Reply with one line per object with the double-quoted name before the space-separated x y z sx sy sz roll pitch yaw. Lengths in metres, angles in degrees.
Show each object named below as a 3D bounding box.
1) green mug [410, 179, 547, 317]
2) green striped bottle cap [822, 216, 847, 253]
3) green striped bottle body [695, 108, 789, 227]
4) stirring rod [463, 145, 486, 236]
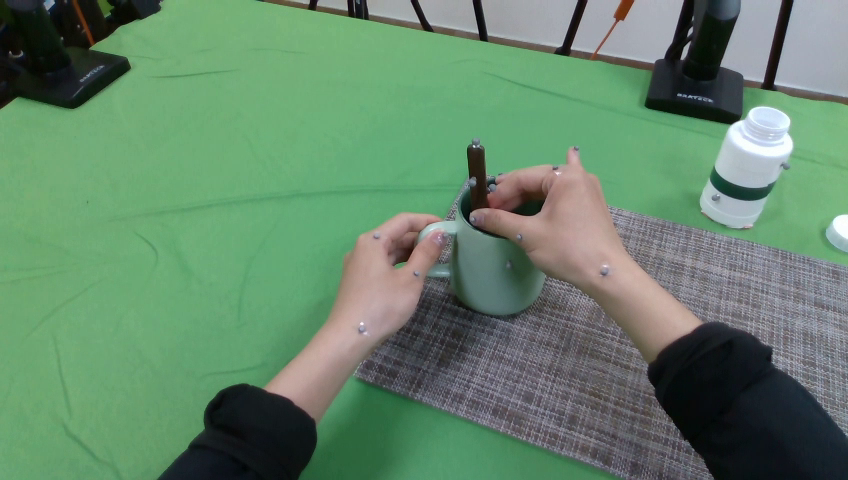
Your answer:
"green mug" 0.050 0.011 0.552 0.125 0.106 0.091 -6 46 -5
"green striped bottle cap" 0.443 -0.005 0.631 0.044 0.020 0.044 1 42 0
"green striped bottle body" 0.331 -0.076 0.628 0.063 0.120 0.062 0 46 1
"stirring rod" 0.046 -0.011 0.513 0.014 0.178 0.006 5 50 13
